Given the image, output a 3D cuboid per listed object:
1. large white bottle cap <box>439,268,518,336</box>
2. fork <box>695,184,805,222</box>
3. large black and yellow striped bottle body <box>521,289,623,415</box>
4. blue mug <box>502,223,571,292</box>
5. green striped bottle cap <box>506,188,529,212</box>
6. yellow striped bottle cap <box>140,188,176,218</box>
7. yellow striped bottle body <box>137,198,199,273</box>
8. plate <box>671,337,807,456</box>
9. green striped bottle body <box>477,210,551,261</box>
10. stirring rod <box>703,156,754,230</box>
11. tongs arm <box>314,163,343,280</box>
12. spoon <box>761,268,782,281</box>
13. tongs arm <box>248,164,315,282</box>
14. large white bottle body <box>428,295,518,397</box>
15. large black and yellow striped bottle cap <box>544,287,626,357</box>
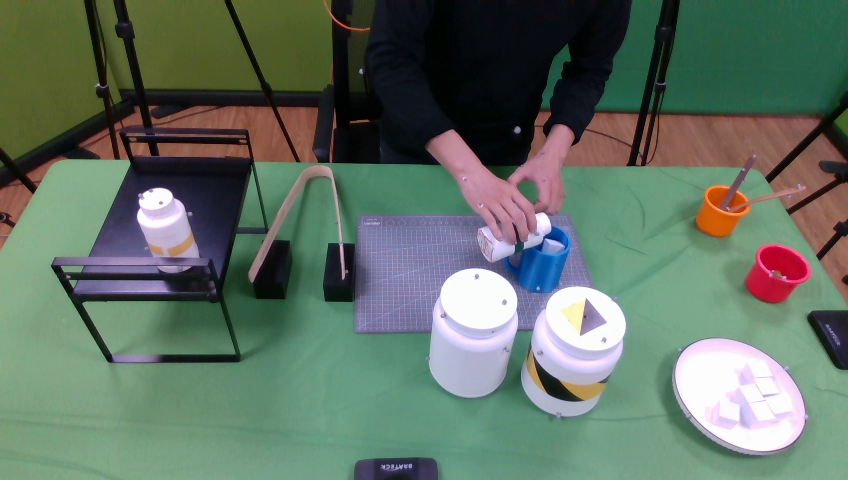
[{"bbox_3d":[0.080,0.089,0.888,0.115,0.018,0.114,2,47,-2],"label":"large white bottle cap"},{"bbox_3d":[0.657,-0.075,1.230,0.207,0.019,0.028,-23,34,37],"label":"fork"},{"bbox_3d":[0.228,0.173,0.938,0.131,0.185,0.130,2,47,-2],"label":"large black and yellow striped bottle body"},{"bbox_3d":[0.202,0.031,1.121,0.116,0.106,0.082,5,47,1],"label":"blue mug"},{"bbox_3d":[0.173,-0.074,1.121,0.044,0.020,0.044,35,30,-24],"label":"green striped bottle cap"},{"bbox_3d":[-0.363,-0.051,0.826,0.044,0.019,0.044,1,47,-1],"label":"yellow striped bottle cap"},{"bbox_3d":[-0.366,-0.014,0.864,0.063,0.121,0.062,2,46,-2],"label":"yellow striped bottle body"},{"bbox_3d":[0.503,0.254,0.984,0.208,0.039,0.206,2,46,-2],"label":"plate"},{"bbox_3d":[0.156,-0.011,1.034,0.119,0.063,0.063,-20,51,-11],"label":"green striped bottle body"},{"bbox_3d":[0.631,-0.097,1.258,0.014,0.006,0.176,33,95,29],"label":"stirring rod"},{"bbox_3d":[-0.188,-0.049,1.170,0.051,0.026,0.382,-6,35,-6],"label":"tongs arm"},{"bbox_3d":[0.638,0.060,1.105,0.041,0.021,0.194,38,11,24],"label":"spoon"},{"bbox_3d":[-0.270,-0.047,1.165,0.028,0.028,0.385,-1,34,7],"label":"tongs arm"},{"bbox_3d":[0.076,0.147,0.950,0.131,0.185,0.130,2,46,-2],"label":"large white bottle body"},{"bbox_3d":[0.232,0.116,0.876,0.115,0.019,0.114,2,46,-1],"label":"large black and yellow striped bottle cap"}]
